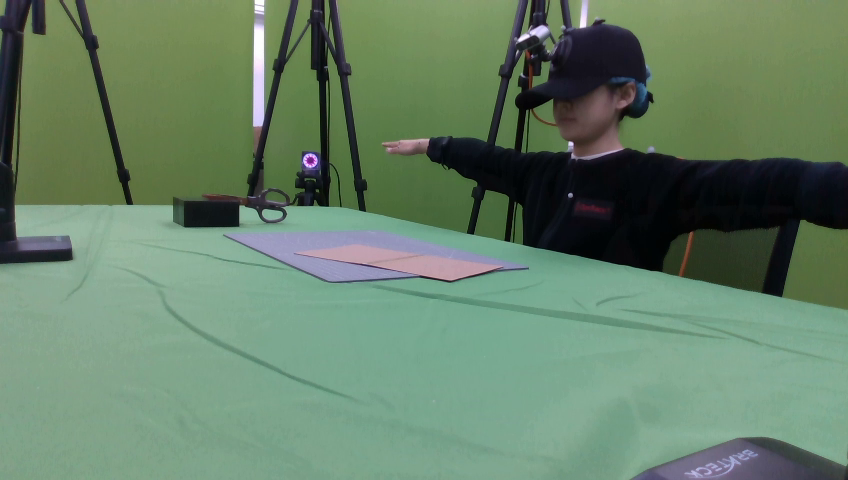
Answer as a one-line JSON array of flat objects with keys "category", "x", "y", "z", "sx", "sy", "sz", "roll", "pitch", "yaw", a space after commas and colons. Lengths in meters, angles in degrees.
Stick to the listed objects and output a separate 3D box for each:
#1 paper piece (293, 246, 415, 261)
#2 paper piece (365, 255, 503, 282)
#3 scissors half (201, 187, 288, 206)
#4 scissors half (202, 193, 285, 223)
[{"category": "paper piece", "x": -0.096, "y": 0.020, "z": 0.873, "sx": 0.137, "sy": 0.008, "sz": 0.137, "roll": 7, "pitch": 4, "yaw": 35}, {"category": "paper piece", "x": 0.014, "y": 0.034, "z": 0.799, "sx": 0.135, "sy": 0.004, "sz": 0.136, "roll": 8, "pitch": 10, "yaw": 35}, {"category": "scissors half", "x": -0.360, "y": -0.088, "z": 1.224, "sx": 0.176, "sy": 0.040, "sz": 0.012, "roll": -3, "pitch": 20, "yaw": -32}, {"category": "scissors half", "x": -0.365, "y": -0.069, "z": 1.228, "sx": 0.176, "sy": 0.040, "sz": 0.013, "roll": 18, "pitch": 3, "yaw": -35}]
